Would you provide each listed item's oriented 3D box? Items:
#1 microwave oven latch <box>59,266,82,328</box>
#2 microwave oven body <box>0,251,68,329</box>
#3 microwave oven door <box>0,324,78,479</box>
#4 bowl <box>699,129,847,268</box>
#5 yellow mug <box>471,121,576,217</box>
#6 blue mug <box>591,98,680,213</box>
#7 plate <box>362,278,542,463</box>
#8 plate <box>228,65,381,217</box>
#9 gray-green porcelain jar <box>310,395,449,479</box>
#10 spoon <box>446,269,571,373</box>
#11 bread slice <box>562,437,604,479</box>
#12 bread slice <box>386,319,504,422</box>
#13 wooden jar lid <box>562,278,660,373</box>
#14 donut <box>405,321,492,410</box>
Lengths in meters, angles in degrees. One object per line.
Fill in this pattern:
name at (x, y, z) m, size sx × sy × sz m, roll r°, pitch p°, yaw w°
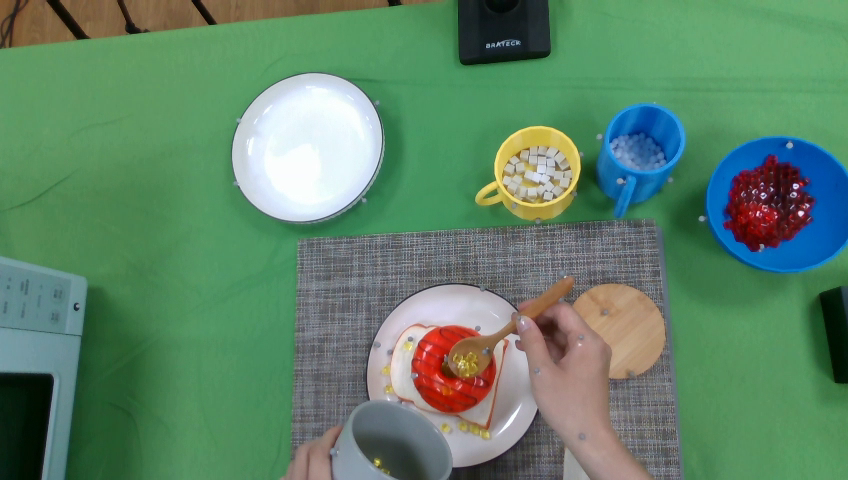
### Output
microwave oven latch at (-0.470, 0.074, 0.791) m, size 0.030 × 0.029 × 0.079 m, roll 1°, pitch 79°, yaw 9°
microwave oven body at (-0.633, 0.231, 0.686) m, size 0.325 × 0.261 × 0.439 m, roll -2°, pitch 78°, yaw 9°
microwave oven door at (-0.490, 0.267, 0.649) m, size 0.039 × 0.245 × 0.354 m, roll -2°, pitch 77°, yaw 9°
bowl at (0.377, -0.037, 0.673) m, size 0.151 × 0.077 × 0.150 m, roll -2°, pitch 78°, yaw 10°
yellow mug at (0.117, -0.078, 0.731) m, size 0.131 × 0.064 × 0.099 m, roll -24°, pitch 75°, yaw 5°
blue mug at (0.234, -0.087, 0.693) m, size 0.082 × 0.106 × 0.116 m, roll 18°, pitch 82°, yaw 13°
plate at (0.033, 0.149, 0.707) m, size 0.209 × 0.038 × 0.208 m, roll -2°, pitch 78°, yaw 9°
plate at (-0.155, -0.128, 0.802) m, size 0.207 × 0.039 × 0.206 m, roll -2°, pitch 78°, yaw 9°
gray-green porcelain jar at (-0.051, 0.230, 0.573) m, size 0.105 × 0.106 × 0.127 m, roll 34°, pitch 111°, yaw 15°
spoon at (0.079, 0.083, 0.591) m, size 0.041 × 0.194 × 0.021 m, roll 48°, pitch 47°, yaw 5°
bread slice at (0.159, 0.261, 0.617) m, size 0.018 × 0.135 × 0.106 m, roll 6°, pitch 76°, yaw 5°
bread slice at (0.020, 0.148, 0.712) m, size 0.131 × 0.019 × 0.104 m, roll 10°, pitch 80°, yaw 11°
wooden jar lid at (0.214, 0.098, 0.698) m, size 0.108 × 0.021 × 0.108 m, roll -2°, pitch 79°, yaw 9°
donut at (0.027, 0.140, 0.682) m, size 0.099 × 0.048 × 0.098 m, roll -1°, pitch 78°, yaw 6°
